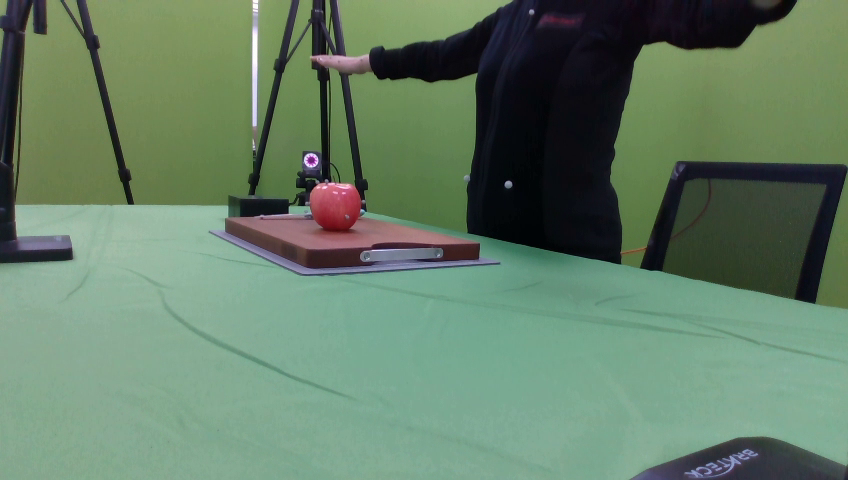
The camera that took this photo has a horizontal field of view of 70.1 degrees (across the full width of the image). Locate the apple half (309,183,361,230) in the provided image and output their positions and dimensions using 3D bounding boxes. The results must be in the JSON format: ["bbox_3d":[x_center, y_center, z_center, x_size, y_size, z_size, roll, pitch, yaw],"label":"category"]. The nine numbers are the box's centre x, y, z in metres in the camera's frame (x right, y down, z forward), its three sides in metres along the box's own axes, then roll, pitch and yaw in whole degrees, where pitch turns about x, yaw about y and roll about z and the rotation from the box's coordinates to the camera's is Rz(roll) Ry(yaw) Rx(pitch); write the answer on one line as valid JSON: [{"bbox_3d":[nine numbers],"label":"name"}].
[{"bbox_3d":[-0.135,-0.052,0.945,0.081,0.074,0.053,3,11,-29],"label":"apple half"}]

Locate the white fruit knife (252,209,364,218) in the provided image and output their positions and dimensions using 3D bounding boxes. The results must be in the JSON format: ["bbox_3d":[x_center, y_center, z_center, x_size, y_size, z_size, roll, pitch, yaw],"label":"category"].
[{"bbox_3d":[-0.209,-0.047,1.106,0.208,0.016,0.027,-3,-4,-30],"label":"white fruit knife"}]

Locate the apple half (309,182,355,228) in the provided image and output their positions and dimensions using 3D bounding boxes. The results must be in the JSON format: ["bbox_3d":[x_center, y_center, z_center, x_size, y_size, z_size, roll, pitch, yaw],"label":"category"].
[{"bbox_3d":[-0.152,-0.058,0.978,0.082,0.081,0.032,-2,11,-27],"label":"apple half"}]
